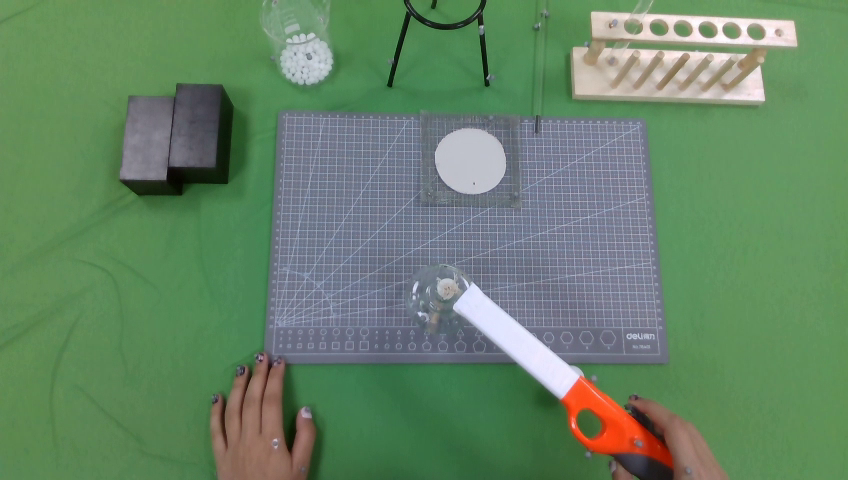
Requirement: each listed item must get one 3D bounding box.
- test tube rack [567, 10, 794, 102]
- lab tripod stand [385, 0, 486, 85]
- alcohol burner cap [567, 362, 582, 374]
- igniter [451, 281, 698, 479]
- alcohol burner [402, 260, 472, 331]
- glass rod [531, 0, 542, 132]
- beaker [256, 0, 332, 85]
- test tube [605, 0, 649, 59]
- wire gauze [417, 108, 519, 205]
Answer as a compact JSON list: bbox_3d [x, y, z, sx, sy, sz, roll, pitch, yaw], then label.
[{"bbox_3d":[0.305,-0.220,0.733,0.242,0.085,0.066,1,76,-3],"label":"test tube rack"},{"bbox_3d":[0.014,-0.250,0.697,0.148,0.132,0.147,0,75,-1],"label":"lab tripod stand"},{"bbox_3d":[0.155,0.148,0.657,0.034,0.048,0.033,1,75,-2],"label":"alcohol burner cap"},{"bbox_3d":[0.137,0.139,0.548,0.276,0.025,0.057,41,82,6],"label":"igniter"},{"bbox_3d":[0.017,0.055,0.631,0.078,0.119,0.077,1,74,-5],"label":"alcohol burner"},{"bbox_3d":[0.142,-0.229,0.763,0.008,0.008,0.199,5,77,-2],"label":"glass rod"},{"bbox_3d":[-0.143,-0.234,0.701,0.084,0.100,0.074,-38,81,-12],"label":"beaker"},{"bbox_3d":[0.235,-0.253,0.686,0.017,0.151,0.017,1,72,-2],"label":"test tube"},{"bbox_3d":[0.052,-0.102,0.726,0.125,0.011,0.121,2,75,-2],"label":"wire gauze"}]
